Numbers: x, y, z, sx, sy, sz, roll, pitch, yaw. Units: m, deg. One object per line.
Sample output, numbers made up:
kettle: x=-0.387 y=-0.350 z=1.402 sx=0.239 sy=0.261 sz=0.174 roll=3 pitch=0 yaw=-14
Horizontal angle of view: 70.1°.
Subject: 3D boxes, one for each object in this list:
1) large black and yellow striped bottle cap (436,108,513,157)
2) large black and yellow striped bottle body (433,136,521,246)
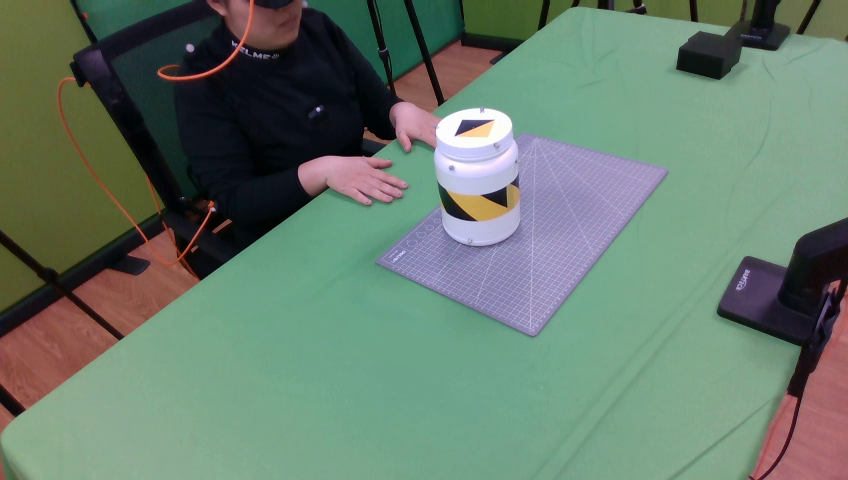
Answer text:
large black and yellow striped bottle cap: x=0.075 y=-0.162 z=0.898 sx=0.115 sy=0.019 sz=0.114 roll=-5 pitch=41 yaw=5
large black and yellow striped bottle body: x=0.085 y=-0.097 z=0.951 sx=0.131 sy=0.185 sz=0.130 roll=-5 pitch=40 yaw=5
